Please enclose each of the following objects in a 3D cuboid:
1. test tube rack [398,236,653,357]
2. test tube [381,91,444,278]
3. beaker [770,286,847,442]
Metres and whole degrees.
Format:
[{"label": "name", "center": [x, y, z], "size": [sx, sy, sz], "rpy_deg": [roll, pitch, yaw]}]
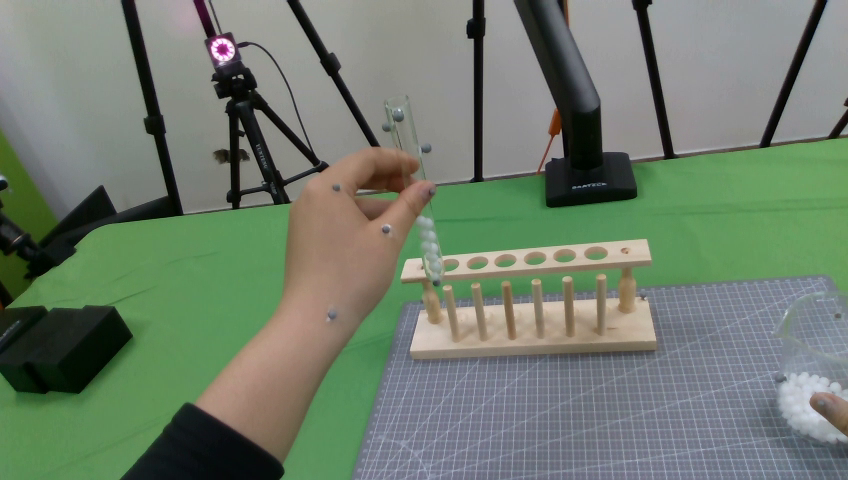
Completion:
[{"label": "test tube rack", "center": [0.099, 0.059, 0.609], "size": [0.242, 0.086, 0.066], "rpy_deg": [-5, 34, 14]}, {"label": "test tube", "center": [-0.005, -0.030, 0.403], "size": [0.017, 0.152, 0.017], "rpy_deg": [-7, 41, 7]}, {"label": "beaker", "center": [0.306, 0.096, 0.458], "size": [0.084, 0.101, 0.073], "rpy_deg": [-6, 33, 16]}]
